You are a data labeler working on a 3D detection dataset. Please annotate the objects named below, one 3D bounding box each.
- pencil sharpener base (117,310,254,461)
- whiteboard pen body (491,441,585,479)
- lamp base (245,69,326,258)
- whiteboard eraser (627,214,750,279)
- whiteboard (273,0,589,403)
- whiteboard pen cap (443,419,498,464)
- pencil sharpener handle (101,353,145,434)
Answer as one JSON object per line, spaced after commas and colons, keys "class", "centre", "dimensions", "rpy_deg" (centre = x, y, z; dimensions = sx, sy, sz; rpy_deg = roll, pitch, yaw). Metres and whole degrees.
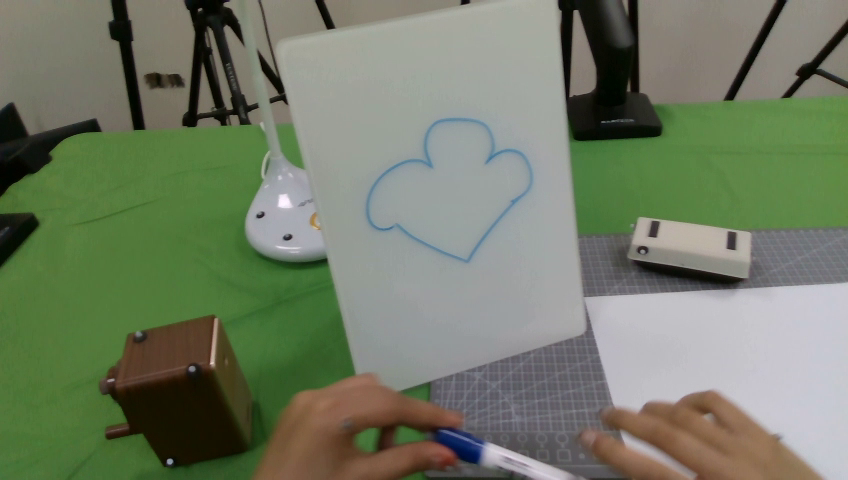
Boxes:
{"class": "pencil sharpener base", "centre": [-0.188, 0.119, 0.485], "dimensions": [0.077, 0.108, 0.060], "rpy_deg": [-12, 39, -7]}
{"class": "whiteboard pen body", "centre": [0.084, 0.150, 0.376], "dimensions": [0.140, 0.017, 0.017], "rpy_deg": [23, 44, 5]}
{"class": "lamp base", "centre": [-0.152, -0.097, 0.695], "dimensions": [0.160, 0.182, 0.177], "rpy_deg": [-34, 44, -31]}
{"class": "whiteboard eraser", "centre": [0.269, 0.007, 0.617], "dimensions": [0.112, 0.042, 0.055], "rpy_deg": [11, 42, 20]}
{"class": "whiteboard", "centre": [0.008, -0.046, 0.556], "dimensions": [0.217, 0.307, 0.142], "rpy_deg": [-15, 20, -10]}
{"class": "whiteboard pen cap", "centre": [0.030, 0.127, 0.380], "dimensions": [0.033, 0.018, 0.018], "rpy_deg": [25, 43, 0]}
{"class": "pencil sharpener handle", "centre": [-0.238, 0.121, 0.468], "dimensions": [0.031, 0.068, 0.035], "rpy_deg": [-12, 26, -7]}
